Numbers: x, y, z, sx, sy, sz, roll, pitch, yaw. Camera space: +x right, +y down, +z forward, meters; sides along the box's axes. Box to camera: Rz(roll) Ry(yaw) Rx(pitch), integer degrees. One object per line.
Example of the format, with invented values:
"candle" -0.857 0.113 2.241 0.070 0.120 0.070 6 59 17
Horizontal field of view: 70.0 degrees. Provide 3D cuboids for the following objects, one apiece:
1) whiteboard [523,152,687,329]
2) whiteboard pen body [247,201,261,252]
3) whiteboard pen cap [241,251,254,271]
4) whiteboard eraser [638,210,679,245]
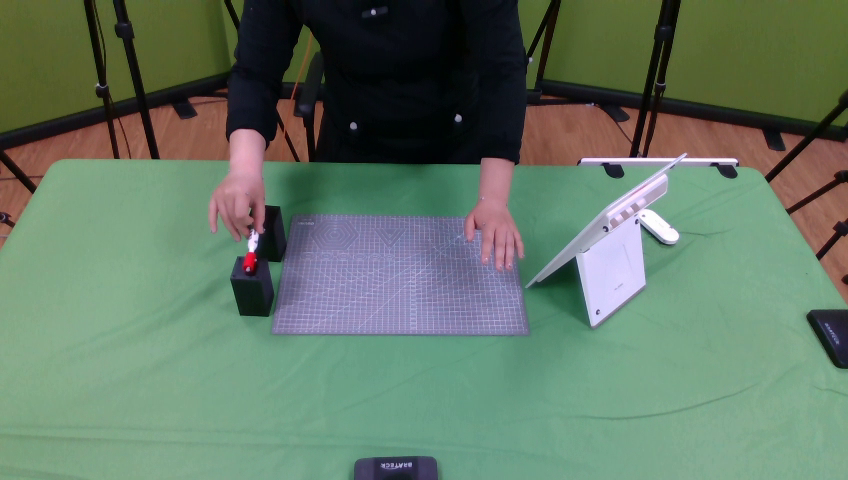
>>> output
"whiteboard" 0.346 0.025 1.046 0.217 0.306 0.143 -30 74 -29
"whiteboard pen body" -0.297 -0.019 1.057 0.017 0.017 0.139 -2 44 -6
"whiteboard pen cap" -0.292 0.034 1.004 0.017 0.017 0.032 2 45 -2
"whiteboard eraser" 0.485 -0.027 1.260 0.041 0.019 0.100 -20 50 -22
